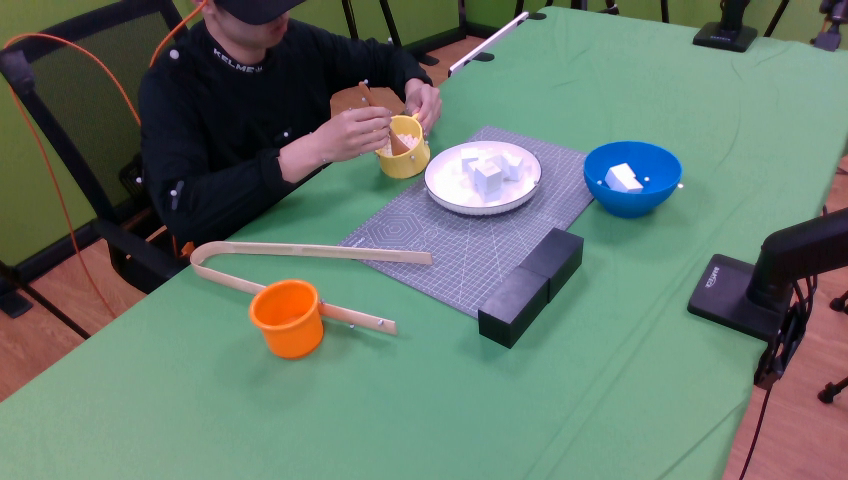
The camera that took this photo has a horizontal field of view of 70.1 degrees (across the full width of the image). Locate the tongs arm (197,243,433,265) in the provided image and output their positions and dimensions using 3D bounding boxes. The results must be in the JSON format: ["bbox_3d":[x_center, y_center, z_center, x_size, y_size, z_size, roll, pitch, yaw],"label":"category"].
[{"bbox_3d":[-0.177,0.025,0.960,0.386,0.028,0.028,2,45,12],"label":"tongs arm"}]

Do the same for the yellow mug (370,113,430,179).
[{"bbox_3d":[-0.036,-0.184,1.128,0.099,0.064,0.131,25,68,26],"label":"yellow mug"}]

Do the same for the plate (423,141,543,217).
[{"bbox_3d":[0.103,-0.104,1.059,0.207,0.039,0.206,-4,40,4],"label":"plate"}]

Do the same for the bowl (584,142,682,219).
[{"bbox_3d":[0.333,-0.087,0.980,0.151,0.077,0.150,-4,40,4],"label":"bowl"}]

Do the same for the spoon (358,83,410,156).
[{"bbox_3d":[-0.067,-0.199,1.053,0.041,0.195,0.021,-11,46,24],"label":"spoon"}]

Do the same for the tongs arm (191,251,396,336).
[{"bbox_3d":[-0.204,0.075,0.902,0.382,0.026,0.051,11,44,22],"label":"tongs arm"}]
